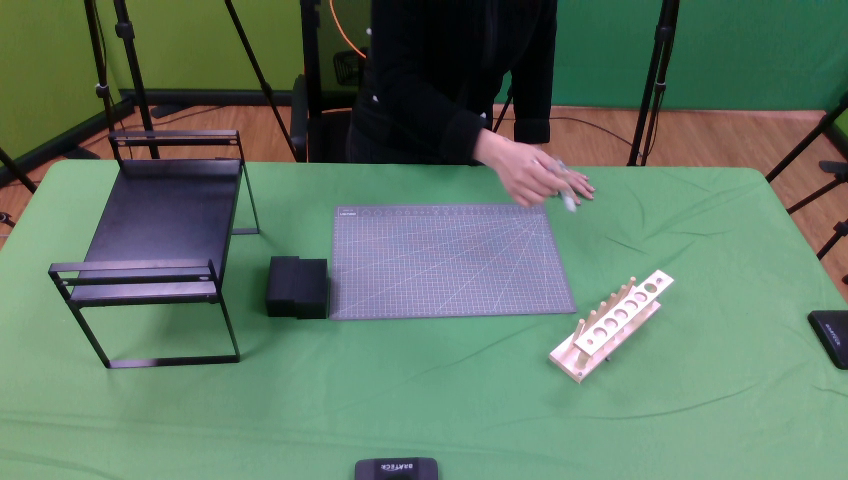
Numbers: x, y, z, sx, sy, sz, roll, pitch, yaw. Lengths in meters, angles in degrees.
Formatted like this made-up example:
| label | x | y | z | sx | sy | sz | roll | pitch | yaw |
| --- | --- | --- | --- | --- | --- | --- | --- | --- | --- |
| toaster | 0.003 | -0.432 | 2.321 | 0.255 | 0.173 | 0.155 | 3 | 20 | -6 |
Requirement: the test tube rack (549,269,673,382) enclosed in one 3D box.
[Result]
| label | x | y | z | sx | sy | sz | roll | pitch | yaw |
| --- | --- | --- | --- | --- | --- | --- | --- | --- | --- |
| test tube rack | 0.325 | 0.134 | 1.047 | 0.242 | 0.085 | 0.066 | -32 | 56 | -30 |

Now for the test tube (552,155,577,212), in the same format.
| label | x | y | z | sx | sy | sz | roll | pitch | yaw |
| --- | --- | --- | --- | --- | --- | --- | --- | --- | --- |
| test tube | 0.223 | -0.085 | 0.956 | 0.017 | 0.151 | 0.017 | -11 | 59 | 18 |
